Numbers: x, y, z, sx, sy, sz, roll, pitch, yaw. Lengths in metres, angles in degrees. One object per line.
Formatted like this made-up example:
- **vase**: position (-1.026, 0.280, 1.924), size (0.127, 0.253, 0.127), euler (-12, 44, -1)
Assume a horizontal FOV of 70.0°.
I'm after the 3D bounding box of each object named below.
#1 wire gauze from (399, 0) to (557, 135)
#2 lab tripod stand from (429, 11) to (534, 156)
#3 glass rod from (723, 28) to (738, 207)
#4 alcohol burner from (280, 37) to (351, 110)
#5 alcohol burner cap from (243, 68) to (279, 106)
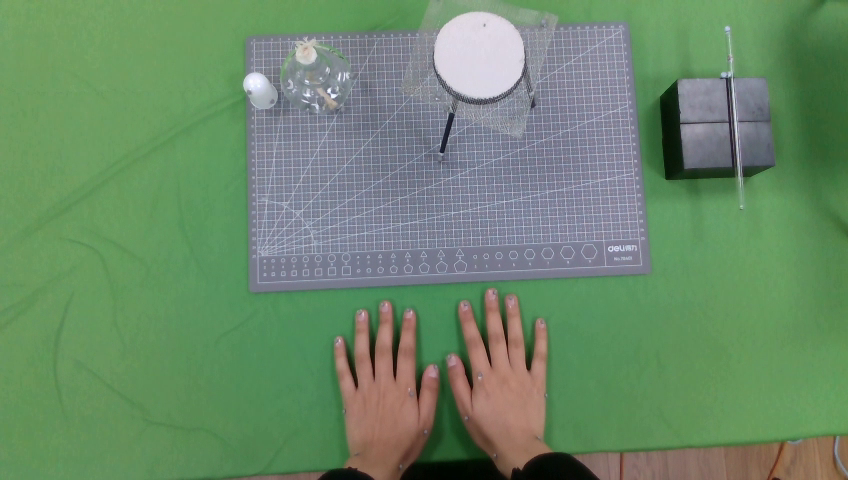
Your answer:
- **wire gauze**: position (0.051, -0.175, 0.570), size (0.125, 0.011, 0.121), euler (19, 83, 1)
- **lab tripod stand**: position (0.054, -0.168, 0.637), size (0.148, 0.132, 0.148), euler (0, 81, -1)
- **glass rod**: position (0.331, -0.133, 0.654), size (0.008, 0.008, 0.199), euler (1, 84, 0)
- **alcohol burner**: position (-0.118, -0.184, 0.645), size (0.078, 0.119, 0.077), euler (0, 82, -2)
- **alcohol burner cap**: position (-0.184, -0.173, 0.679), size (0.034, 0.048, 0.034), euler (0, 82, 3)
